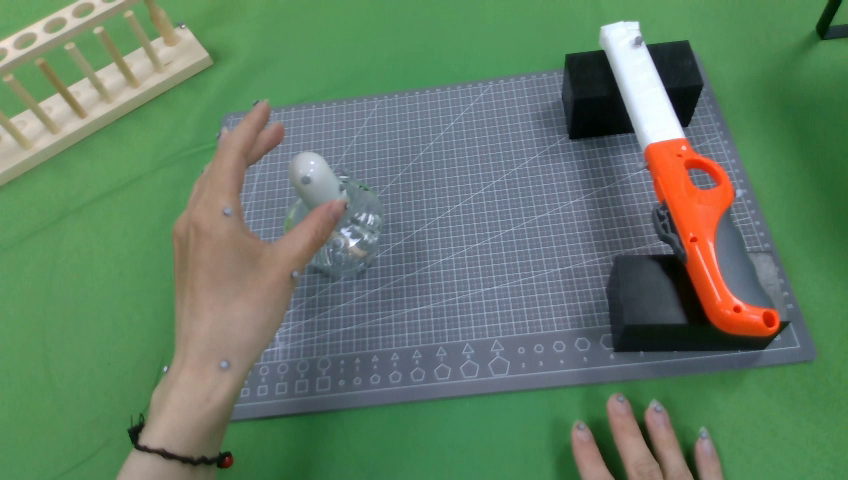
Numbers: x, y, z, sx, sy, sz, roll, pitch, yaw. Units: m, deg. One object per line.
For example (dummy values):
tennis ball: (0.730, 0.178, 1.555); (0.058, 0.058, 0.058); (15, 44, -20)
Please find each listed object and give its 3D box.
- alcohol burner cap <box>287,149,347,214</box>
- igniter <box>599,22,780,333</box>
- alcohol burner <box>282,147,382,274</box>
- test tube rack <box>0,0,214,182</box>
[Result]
alcohol burner cap: (-0.076, -0.043, 0.420); (0.034, 0.048, 0.033); (-5, 63, 11)
igniter: (0.176, -0.059, 0.428); (0.057, 0.025, 0.273); (-10, 58, 3)
alcohol burner: (-0.072, -0.025, 0.449); (0.078, 0.120, 0.077); (-4, 57, 7)
test tube rack: (-0.340, -0.161, 0.584); (0.242, 0.086, 0.066); (-35, 61, -12)
